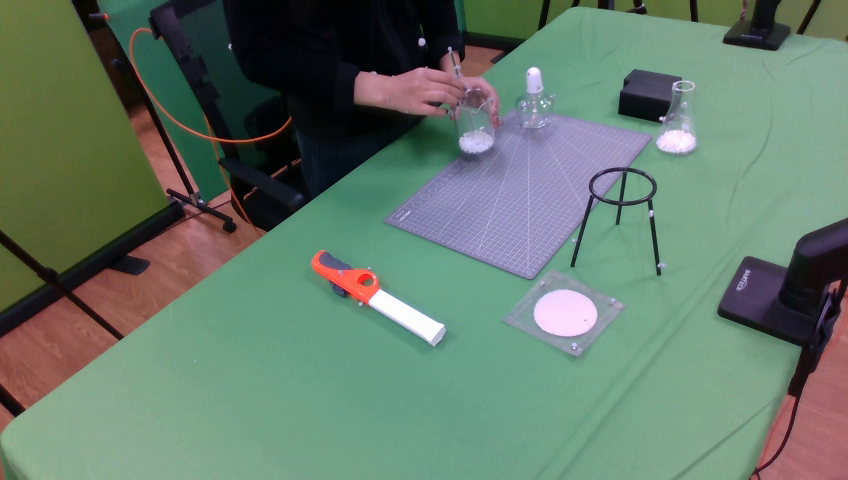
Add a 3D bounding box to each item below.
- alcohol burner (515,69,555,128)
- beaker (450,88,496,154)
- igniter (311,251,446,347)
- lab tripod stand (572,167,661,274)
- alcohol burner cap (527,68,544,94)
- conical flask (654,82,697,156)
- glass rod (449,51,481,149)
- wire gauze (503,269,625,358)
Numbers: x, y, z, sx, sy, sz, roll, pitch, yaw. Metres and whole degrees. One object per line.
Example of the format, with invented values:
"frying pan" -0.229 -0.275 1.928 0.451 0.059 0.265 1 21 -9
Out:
"alcohol burner" 0.221 -0.285 1.203 0.078 0.119 0.077 -4 39 4
"beaker" 0.093 -0.214 1.107 0.074 0.101 0.083 -14 39 -1
"igniter" -0.078 0.081 0.899 0.274 0.025 0.057 27 62 35
"lab tripod stand" 0.284 -0.030 0.879 0.148 0.132 0.147 -7 38 6
"alcohol burner cap" 0.216 -0.312 1.179 0.034 0.048 0.033 -9 40 9
"conical flask" 0.454 -0.218 1.076 0.075 0.122 0.075 -5 40 5
"glass rod" 0.074 -0.240 1.058 0.008 0.201 0.008 -13 41 12
"wire gauze" 0.194 0.100 0.840 0.120 0.011 0.125 27 54 36
